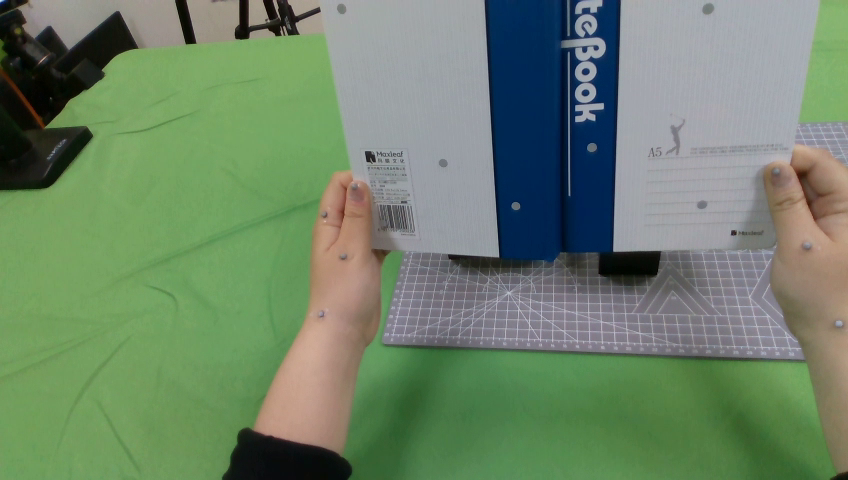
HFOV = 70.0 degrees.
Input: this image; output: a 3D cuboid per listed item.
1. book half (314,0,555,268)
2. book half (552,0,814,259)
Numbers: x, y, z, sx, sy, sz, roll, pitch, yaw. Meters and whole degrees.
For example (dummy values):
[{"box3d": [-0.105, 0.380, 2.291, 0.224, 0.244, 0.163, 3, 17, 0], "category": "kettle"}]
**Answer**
[{"box3d": [0.011, -0.079, 0.401, 0.148, 0.212, 0.016, 3, 30, 19], "category": "book half"}, {"box3d": [0.150, -0.081, 0.371, 0.143, 0.212, 0.007, -2, 28, 12], "category": "book half"}]
